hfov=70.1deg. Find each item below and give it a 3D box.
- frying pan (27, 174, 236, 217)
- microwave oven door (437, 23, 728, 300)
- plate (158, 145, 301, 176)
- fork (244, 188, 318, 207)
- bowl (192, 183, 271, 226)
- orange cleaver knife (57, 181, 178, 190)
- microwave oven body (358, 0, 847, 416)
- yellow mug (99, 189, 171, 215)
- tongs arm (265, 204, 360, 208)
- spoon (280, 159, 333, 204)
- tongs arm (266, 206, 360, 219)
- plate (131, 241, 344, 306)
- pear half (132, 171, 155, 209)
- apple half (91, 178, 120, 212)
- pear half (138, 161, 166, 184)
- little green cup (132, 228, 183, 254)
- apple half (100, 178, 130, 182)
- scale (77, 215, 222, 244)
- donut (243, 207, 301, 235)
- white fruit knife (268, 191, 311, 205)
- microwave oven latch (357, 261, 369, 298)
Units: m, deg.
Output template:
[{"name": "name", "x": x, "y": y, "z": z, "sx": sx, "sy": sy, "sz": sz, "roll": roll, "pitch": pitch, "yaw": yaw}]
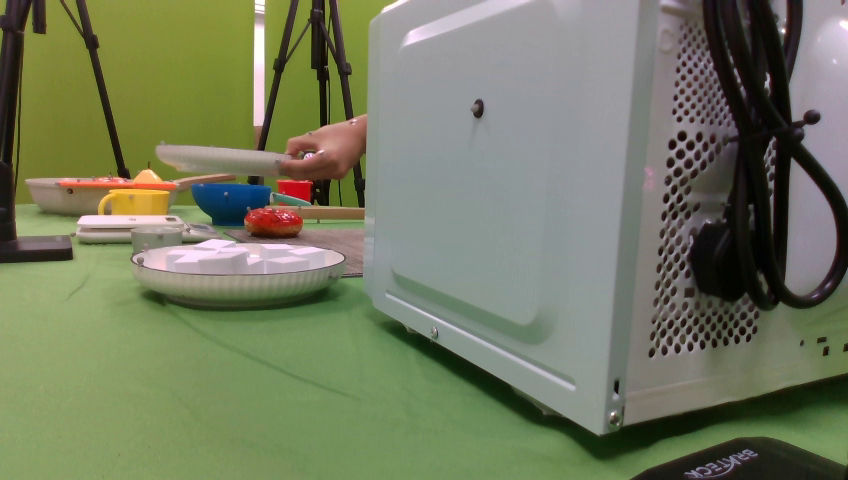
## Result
[{"name": "frying pan", "x": -0.624, "y": -0.118, "z": 1.387, "sx": 0.305, "sy": 0.102, "sz": 0.490, "roll": 8, "pitch": 17, "yaw": 32}, {"name": "microwave oven door", "x": 0.181, "y": -0.073, "z": 0.621, "sx": 0.358, "sy": 0.243, "sz": 0.039, "roll": -2, "pitch": 8, "yaw": -29}, {"name": "plate", "x": -0.297, "y": -0.121, "z": 0.931, "sx": 0.209, "sy": 0.038, "sz": 0.209, "roll": 3, "pitch": 6, "yaw": 0}, {"name": "fork", "x": -0.356, "y": -0.105, "z": 1.526, "sx": 0.208, "sy": 0.018, "sz": 0.028, "roll": 16, "pitch": -6, "yaw": -41}, {"name": "bowl", "x": -0.382, "y": -0.071, "z": 1.202, "sx": 0.151, "sy": 0.077, "sz": 0.151, "roll": 3, "pitch": 7, "yaw": 0}, {"name": "orange cleaver knife", "x": -0.600, "y": -0.109, "z": 1.189, "sx": 0.212, "sy": 0.012, "sz": 0.077, "roll": -1, "pitch": 11, "yaw": -26}, {"name": "microwave oven body", "x": 0.211, "y": -0.047, "z": 0.474, "sx": 0.444, "sy": 0.260, "sz": 0.324, "roll": -1, "pitch": 7, "yaw": -28}, {"name": "yellow mug", "x": -0.519, "y": -0.055, "z": 1.080, "sx": 0.099, "sy": 0.064, "sz": 0.131, "roll": 7, "pitch": 9, "yaw": 26}, {"name": "tongs arm", "x": -0.211, "y": -0.069, "z": 1.440, "sx": 0.389, "sy": 0.027, "sz": 0.028, "roll": 1, "pitch": 0, "yaw": -17}, {"name": "spoon", "x": -0.316, "y": -0.159, "z": 1.640, "sx": 0.194, "sy": 0.022, "sz": 0.041, "roll": -49, "pitch": 32, "yaw": -20}, {"name": "tongs arm", "x": -0.174, "y": -0.061, "z": 1.363, "sx": 0.387, "sy": 0.026, "sz": 0.050, "roll": -1, "pitch": 4, "yaw": -31}, {"name": "plate", "x": -0.187, "y": 0.033, "z": 0.625, "sx": 0.208, "sy": 0.039, "sz": 0.207, "roll": 2, "pitch": 7, "yaw": 0}, {"name": "pear half", "x": -0.636, "y": -0.113, "z": 1.362, "sx": 0.031, "sy": 0.088, "sz": 0.070, "roll": 3, "pitch": 13, "yaw": 1}, {"name": "apple half", "x": -0.677, "y": -0.096, "z": 1.271, "sx": 0.033, "sy": 0.081, "sz": 0.081, "roll": 7, "pitch": 8, "yaw": 10}, {"name": "pear half", "x": -0.602, "y": -0.120, "z": 1.354, "sx": 0.056, "sy": 0.110, "sz": 0.076, "roll": 4, "pitch": 11, "yaw": 5}, {"name": "little green cup", "x": -0.342, "y": 0.006, "z": 0.779, "sx": 0.061, "sy": 0.038, "sz": 0.061, "roll": 2, "pitch": 8, "yaw": 0}, {"name": "apple half", "x": -0.638, "y": -0.093, "z": 1.265, "sx": 0.053, "sy": 0.074, "sz": 0.081, "roll": 7, "pitch": 5, "yaw": 10}, {"name": "scale", "x": -0.434, "y": -0.018, "z": 0.963, "sx": 0.202, "sy": 0.031, "sz": 0.148, "roll": -1, "pitch": 9, "yaw": -27}, {"name": "donut", "x": -0.261, "y": -0.032, "z": 1.043, "sx": 0.099, "sy": 0.048, "sz": 0.099, "roll": 4, "pitch": 8, "yaw": 0}, {"name": "white fruit knife", "x": -0.364, "y": -0.105, "z": 1.464, "sx": 0.208, "sy": 0.027, "sz": 0.016, "roll": 15, "pitch": 0, "yaw": -34}, {"name": "microwave oven latch", "x": -0.019, "y": 0.033, "z": 0.530, "sx": 0.079, "sy": 0.029, "sz": 0.030, "roll": -1, "pitch": 7, "yaw": -26}]
